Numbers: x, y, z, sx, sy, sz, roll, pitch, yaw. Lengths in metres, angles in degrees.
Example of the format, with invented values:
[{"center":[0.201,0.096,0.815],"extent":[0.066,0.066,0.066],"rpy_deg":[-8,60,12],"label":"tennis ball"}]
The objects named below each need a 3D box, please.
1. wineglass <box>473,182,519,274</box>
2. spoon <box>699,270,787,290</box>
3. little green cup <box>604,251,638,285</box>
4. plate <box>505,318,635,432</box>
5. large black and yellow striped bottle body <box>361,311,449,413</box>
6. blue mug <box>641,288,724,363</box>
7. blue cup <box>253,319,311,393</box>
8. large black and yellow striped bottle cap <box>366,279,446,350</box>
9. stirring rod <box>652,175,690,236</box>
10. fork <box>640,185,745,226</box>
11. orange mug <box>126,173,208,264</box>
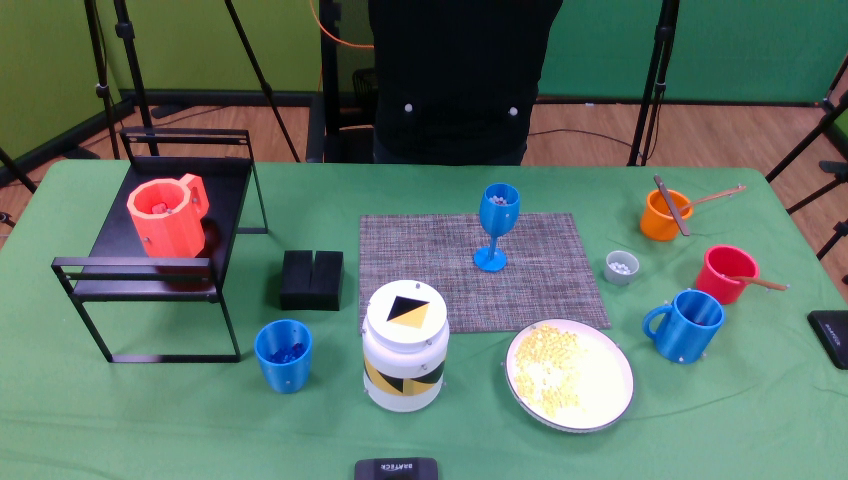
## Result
[{"center":[0.131,-0.022,1.117],"extent":[0.074,0.173,0.073],"rpy_deg":[2,46,-2],"label":"wineglass"},{"center":[0.567,0.071,1.087],"extent":[0.042,0.021,0.193],"rpy_deg":[-12,4,-13],"label":"spoon"},{"center":[0.375,0.055,1.161],"extent":[0.061,0.039,0.061],"rpy_deg":[3,45,-2],"label":"little green cup"},{"center":[0.235,0.221,0.991],"extent":[0.209,0.038,0.208],"rpy_deg":[2,45,-2],"label":"plate"},{"center":[-0.031,0.163,0.924],"extent":[0.131,0.185,0.130],"rpy_deg":[2,46,-2],"label":"large black and yellow striped bottle body"},{"center":[0.432,0.144,1.033],"extent":[0.116,0.106,0.082],"rpy_deg":[8,46,5],"label":"blue mug"},{"center":[-0.217,0.187,0.943],"extent":[0.093,0.100,0.092],"rpy_deg":[4,45,-3],"label":"blue cup"},{"center":[-0.025,0.104,0.864],"extent":[0.115,0.019,0.114],"rpy_deg":[3,48,-3],"label":"large black and yellow striped bottle cap"},{"center":[0.492,-0.072,1.211],"extent":[0.014,0.006,0.175],"rpy_deg":[-1,46,-6],"label":"stirring rod"},{"center":[0.534,-0.069,1.215],"extent":[0.207,0.019,0.028],"rpy_deg":[-26,27,33],"label":"fork"},{"center":[-0.371,-0.040,0.902],"extent":[0.083,0.101,0.126],"rpy_deg":[18,52,13],"label":"orange mug"}]
